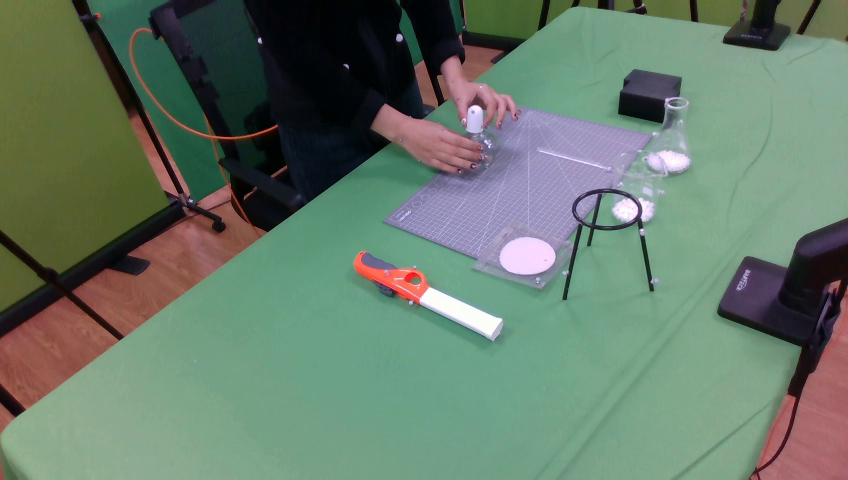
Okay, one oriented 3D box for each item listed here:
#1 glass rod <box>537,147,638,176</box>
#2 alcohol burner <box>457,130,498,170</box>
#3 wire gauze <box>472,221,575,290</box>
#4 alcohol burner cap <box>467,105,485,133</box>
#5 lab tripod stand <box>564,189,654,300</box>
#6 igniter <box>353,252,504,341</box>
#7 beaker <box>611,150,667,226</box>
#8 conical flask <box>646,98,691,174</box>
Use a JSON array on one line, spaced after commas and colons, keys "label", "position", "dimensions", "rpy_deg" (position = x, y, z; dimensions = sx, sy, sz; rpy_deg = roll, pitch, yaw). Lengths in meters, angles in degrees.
[{"label": "glass rod", "position": [0.294, -0.145, 1.104], "dimensions": [0.198, 0.008, 0.008], "rpy_deg": [22, 50, 31]}, {"label": "alcohol burner", "position": [0.098, -0.191, 1.117], "dimensions": [0.078, 0.119, 0.077], "rpy_deg": [-6, 38, 5]}, {"label": "wire gauze", "position": [0.158, 0.024, 0.933], "dimensions": [0.120, 0.011, 0.125], "rpy_deg": [21, 49, 31]}, {"label": "alcohol burner cap", "position": [0.094, -0.220, 1.092], "dimensions": [0.034, 0.048, 0.033], "rpy_deg": [-1, 36, 1]}, {"label": "lab tripod stand", "position": [0.251, 0.003, 0.845], "dimensions": [0.148, 0.132, 0.147], "rpy_deg": [-7, 39, 6]}, {"label": "igniter", "position": [-0.005, 0.077, 0.889], "dimensions": [0.274, 0.025, 0.057], "rpy_deg": [23, 60, 33]}, {"label": "beaker", "position": [0.337, -0.079, 0.953], "dimensions": [0.083, 0.101, 0.074], "rpy_deg": [25, 51, 33]}, {"label": "conical flask", "position": [0.426, -0.180, 1.037], "dimensions": [0.075, 0.122, 0.075], "rpy_deg": [-5, 40, 5]}]
